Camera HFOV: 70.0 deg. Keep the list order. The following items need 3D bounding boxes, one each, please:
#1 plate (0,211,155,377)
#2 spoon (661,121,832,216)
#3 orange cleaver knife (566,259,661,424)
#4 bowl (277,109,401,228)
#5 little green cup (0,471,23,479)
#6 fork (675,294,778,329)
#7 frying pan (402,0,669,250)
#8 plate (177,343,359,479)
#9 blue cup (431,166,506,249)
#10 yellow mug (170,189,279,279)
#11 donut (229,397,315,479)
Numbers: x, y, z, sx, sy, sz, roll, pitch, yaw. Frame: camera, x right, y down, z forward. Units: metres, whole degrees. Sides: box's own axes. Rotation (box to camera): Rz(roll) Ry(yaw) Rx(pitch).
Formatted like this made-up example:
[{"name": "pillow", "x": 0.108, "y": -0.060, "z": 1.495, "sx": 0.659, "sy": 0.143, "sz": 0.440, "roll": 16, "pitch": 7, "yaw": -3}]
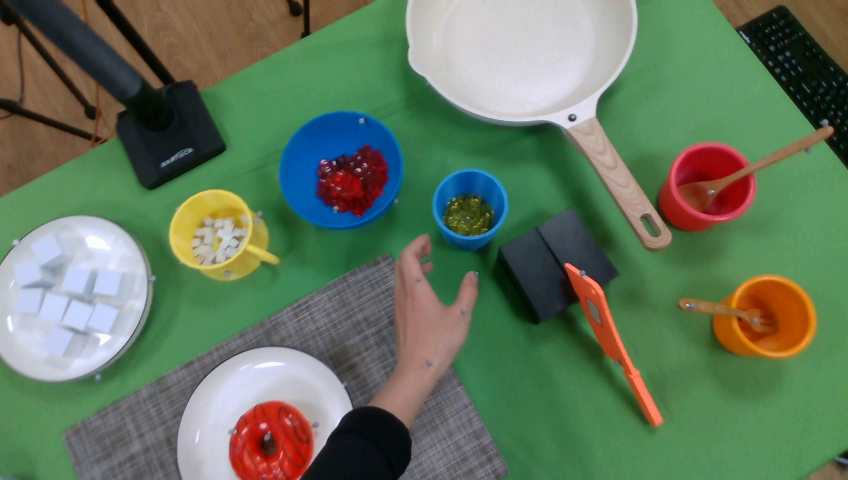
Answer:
[{"name": "plate", "x": -0.436, "y": 0.068, "z": 0.761, "sx": 0.207, "sy": 0.039, "sz": 0.206, "roll": -1, "pitch": 76, "yaw": 3}, {"name": "spoon", "x": 0.365, "y": -0.080, "z": 0.697, "sx": 0.193, "sy": 0.022, "sz": 0.041, "roll": -33, "pitch": 70, "yaw": 40}, {"name": "orange cleaver knife", "x": 0.214, "y": 0.116, "z": 0.689, "sx": 0.012, "sy": 0.077, "sz": 0.212, "roll": -30, "pitch": 105, "yaw": -4}, {"name": "bowl", "x": -0.100, "y": -0.079, "z": 0.758, "sx": 0.151, "sy": 0.077, "sz": 0.150, "roll": -1, "pitch": 76, "yaw": 3}, {"name": "little green cup", "x": -0.500, "y": 0.298, "z": 0.705, "sx": 0.061, "sy": 0.039, "sz": 0.061, "roll": 0, "pitch": 77, "yaw": 2}, {"name": "fork", "x": 0.332, "y": 0.076, "z": 0.656, "sx": 0.209, "sy": 0.018, "sz": 0.028, "roll": 13, "pitch": 71, "yaw": -38}, {"name": "frying pan", "x": 0.160, "y": -0.194, "z": 0.758, "sx": 0.307, "sy": 0.103, "sz": 0.483, "roll": -24, "pitch": 68, "yaw": -2}, {"name": "plate", "x": -0.177, "y": 0.225, "z": 0.702, "sx": 0.209, "sy": 0.038, "sz": 0.208, "roll": -1, "pitch": 76, "yaw": 3}, {"name": "blue cup", "x": 0.051, "y": -0.030, "z": 0.724, "sx": 0.092, "sy": 0.100, "sz": 0.092, "roll": 0, "pitch": 75, "yaw": 1}, {"name": "yellow mug", "x": -0.239, "y": -0.001, "z": 0.752, "sx": 0.130, "sy": 0.064, "sz": 0.099, "roll": 22, "pitch": 78, "yaw": 8}, {"name": "donut", "x": -0.172, "y": 0.229, "z": 0.689, "sx": 0.099, "sy": 0.048, "sz": 0.098, "roll": 0, "pitch": 79, "yaw": 3}]
